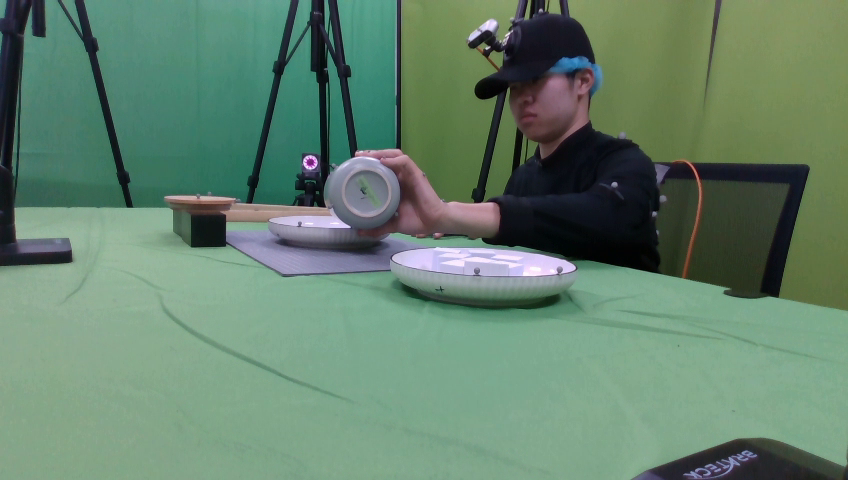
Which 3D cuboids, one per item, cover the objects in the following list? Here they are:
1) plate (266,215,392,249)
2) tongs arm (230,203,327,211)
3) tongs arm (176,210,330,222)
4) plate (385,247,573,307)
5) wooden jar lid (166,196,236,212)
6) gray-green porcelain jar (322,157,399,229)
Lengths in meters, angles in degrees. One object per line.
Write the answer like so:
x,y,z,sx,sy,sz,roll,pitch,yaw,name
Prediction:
-0.159,-0.015,1.019,0.209,0.038,0.209,3,7,0,plate
-0.362,-0.068,1.406,0.386,0.026,0.050,2,9,-14,tongs arm
-0.337,-0.053,1.329,0.389,0.028,0.028,-1,6,-27,tongs arm
0.060,0.041,0.678,0.208,0.039,0.207,3,7,0,plate
-0.369,-0.060,1.001,0.108,0.020,0.108,3,6,0,wooden jar lid
-0.096,-0.069,0.904,0.106,0.105,0.126,1,4,-14,gray-green porcelain jar
